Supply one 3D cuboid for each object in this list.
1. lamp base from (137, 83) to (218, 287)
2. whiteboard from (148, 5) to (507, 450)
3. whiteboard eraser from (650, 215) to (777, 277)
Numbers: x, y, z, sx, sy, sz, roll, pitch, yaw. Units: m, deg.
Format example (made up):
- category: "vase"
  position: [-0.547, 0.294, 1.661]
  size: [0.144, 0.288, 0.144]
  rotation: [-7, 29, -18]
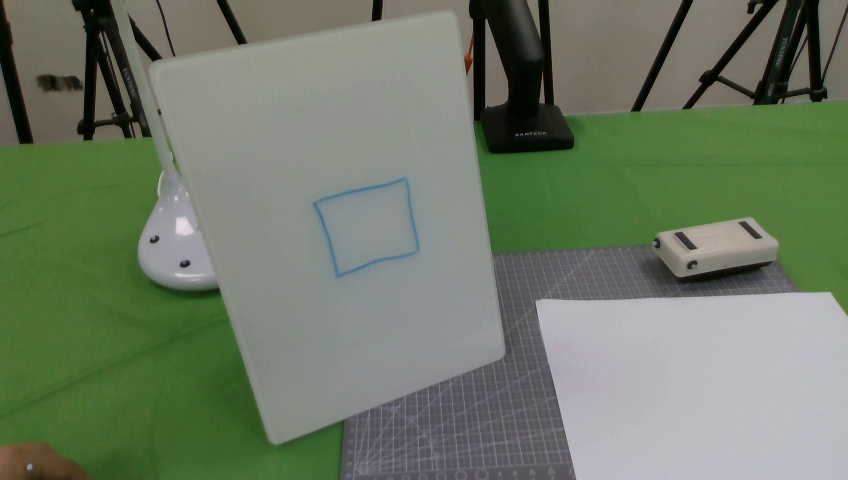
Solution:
- category: "lamp base"
  position: [-0.250, -0.067, 0.642]
  size: [0.177, 0.182, 0.160]
  rotation: [24, 45, 32]
- category: "whiteboard"
  position: [-0.073, -0.020, 0.523]
  size: [0.218, 0.307, 0.142]
  rotation: [-17, 22, -16]
- category: "whiteboard eraser"
  position: [0.300, 0.008, 0.632]
  size: [0.113, 0.042, 0.055]
  rotation: [-9, 40, -8]
